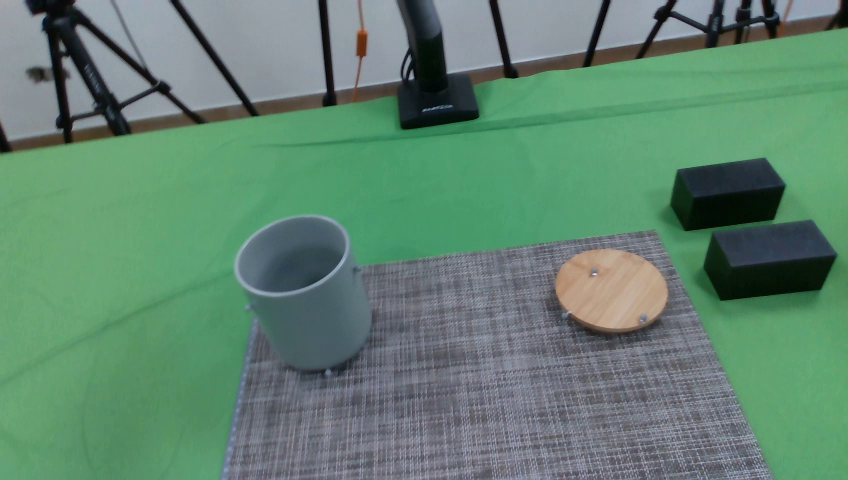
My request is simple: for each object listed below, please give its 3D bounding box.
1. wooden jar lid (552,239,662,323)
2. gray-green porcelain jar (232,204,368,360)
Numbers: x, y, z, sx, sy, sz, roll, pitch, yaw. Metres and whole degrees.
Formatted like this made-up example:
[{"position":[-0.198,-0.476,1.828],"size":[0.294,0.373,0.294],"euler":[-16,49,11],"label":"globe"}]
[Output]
[{"position":[0.185,0.042,0.618],"size":[0.108,0.021,0.107],"euler":[-5,46,5],"label":"wooden jar lid"},{"position":[-0.113,0.046,0.587],"size":[0.106,0.128,0.105],"euler":[-4,45,5],"label":"gray-green porcelain jar"}]
